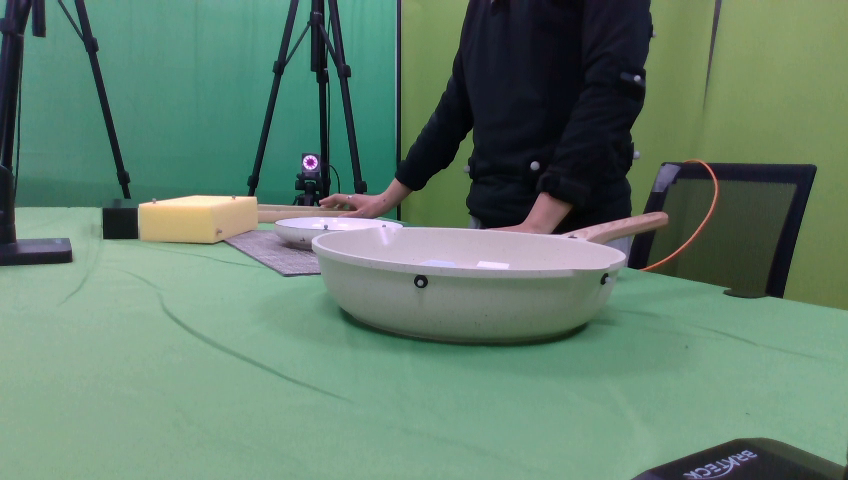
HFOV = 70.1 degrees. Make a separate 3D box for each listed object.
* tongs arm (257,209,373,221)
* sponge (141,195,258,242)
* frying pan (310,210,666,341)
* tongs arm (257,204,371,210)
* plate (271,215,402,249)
[{"bbox_3d":[-0.275,-0.056,1.348,0.390,0.028,0.028,-2,5,-36],"label":"tongs arm"},{"bbox_3d":[-0.380,-0.040,1.047,0.118,0.061,0.207,1,8,3],"label":"sponge"},{"bbox_3d":[0.120,0.011,0.643,0.490,0.102,0.305,-13,16,-36],"label":"frying pan"},{"bbox_3d":[-0.312,-0.069,1.418,0.387,0.026,0.050,1,7,-24],"label":"tongs arm"},{"bbox_3d":[-0.141,-0.012,0.978,0.208,0.039,0.207,3,7,0],"label":"plate"}]
